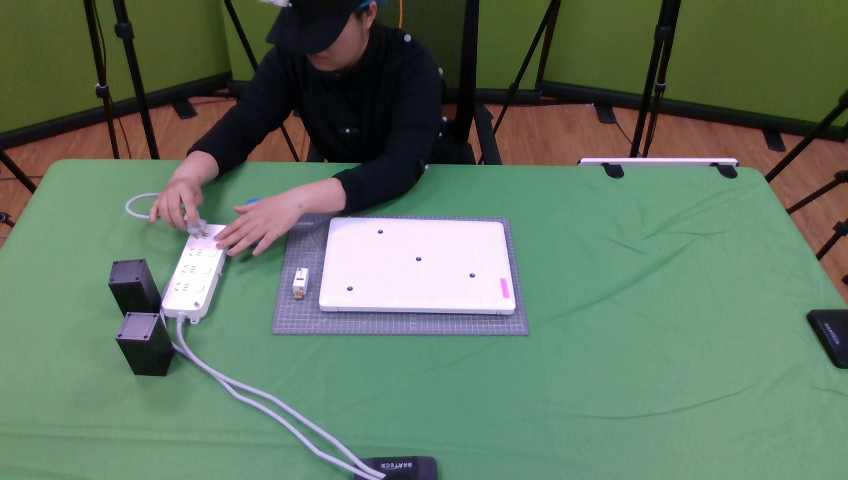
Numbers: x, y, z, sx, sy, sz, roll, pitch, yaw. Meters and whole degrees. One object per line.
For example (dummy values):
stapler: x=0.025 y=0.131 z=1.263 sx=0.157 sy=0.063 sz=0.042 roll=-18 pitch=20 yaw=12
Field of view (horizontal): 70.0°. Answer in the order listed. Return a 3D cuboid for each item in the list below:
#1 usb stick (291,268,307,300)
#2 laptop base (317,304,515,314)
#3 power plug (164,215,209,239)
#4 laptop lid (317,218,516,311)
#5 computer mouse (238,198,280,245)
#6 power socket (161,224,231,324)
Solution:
usb stick: x=-0.227 y=0.081 z=1.094 sx=0.021 sy=0.027 sz=0.059 roll=5 pitch=48 yaw=-2
laptop base: x=-0.014 y=0.050 z=1.150 sx=0.354 sy=0.023 sz=0.234 roll=1 pitch=42 yaw=-3
power plug: x=-0.439 y=-0.024 z=1.136 sx=0.072 sy=0.053 sz=0.035 roll=0 pitch=41 yaw=22
laptop lid: x=-0.013 y=0.040 z=1.143 sx=0.357 sy=0.013 sz=0.240 roll=3 pitch=43 yaw=-2
computer mouse: x=-0.327 y=-0.040 z=1.201 sx=0.063 sy=0.041 sz=0.116 roll=6 pitch=50 yaw=-2
power socket: x=-0.412 y=0.053 z=1.106 sx=0.072 sy=0.033 sz=0.225 roll=4 pitch=46 yaw=-2
